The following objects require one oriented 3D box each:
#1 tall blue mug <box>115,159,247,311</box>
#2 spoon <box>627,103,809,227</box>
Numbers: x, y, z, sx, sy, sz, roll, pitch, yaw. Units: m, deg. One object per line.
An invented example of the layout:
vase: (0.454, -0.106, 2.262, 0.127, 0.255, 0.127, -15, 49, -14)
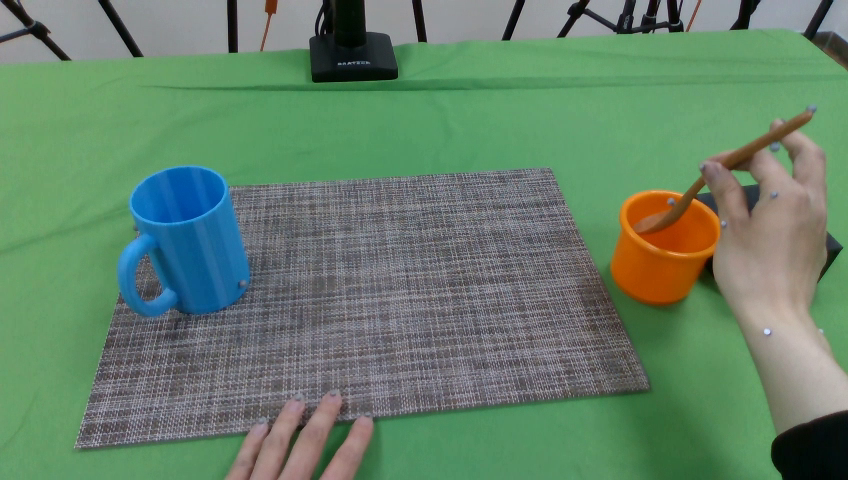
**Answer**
tall blue mug: (-0.203, 0.006, 0.516, 0.078, 0.109, 0.106, 2, 45, -2)
spoon: (0.223, -0.052, 0.482, 0.041, 0.194, 0.021, -30, 76, -24)
